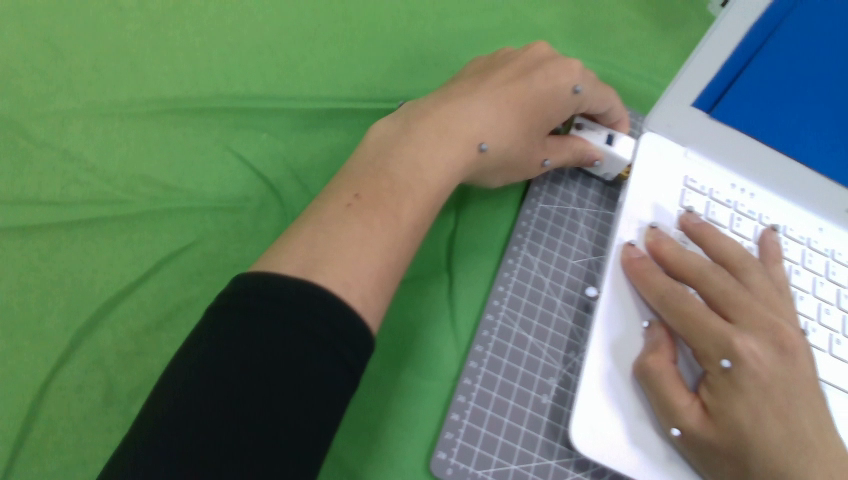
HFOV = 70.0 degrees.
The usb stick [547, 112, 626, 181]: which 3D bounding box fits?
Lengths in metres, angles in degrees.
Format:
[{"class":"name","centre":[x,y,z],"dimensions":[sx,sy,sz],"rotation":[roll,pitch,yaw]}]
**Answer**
[{"class":"usb stick","centre":[0.112,-0.058,0.397],"dimensions":[0.059,0.027,0.021],"rotation":[26,52,-12]}]

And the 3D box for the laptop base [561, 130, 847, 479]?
[{"class":"laptop base","centre":[0.264,0.088,0.385],"dimensions":[0.355,0.023,0.234],"rotation":[25,61,-4]}]

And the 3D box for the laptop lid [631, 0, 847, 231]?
[{"class":"laptop lid","centre":[0.345,-0.088,0.376],"dimensions":[0.357,0.243,0.013],"rotation":[23,36,-4]}]
